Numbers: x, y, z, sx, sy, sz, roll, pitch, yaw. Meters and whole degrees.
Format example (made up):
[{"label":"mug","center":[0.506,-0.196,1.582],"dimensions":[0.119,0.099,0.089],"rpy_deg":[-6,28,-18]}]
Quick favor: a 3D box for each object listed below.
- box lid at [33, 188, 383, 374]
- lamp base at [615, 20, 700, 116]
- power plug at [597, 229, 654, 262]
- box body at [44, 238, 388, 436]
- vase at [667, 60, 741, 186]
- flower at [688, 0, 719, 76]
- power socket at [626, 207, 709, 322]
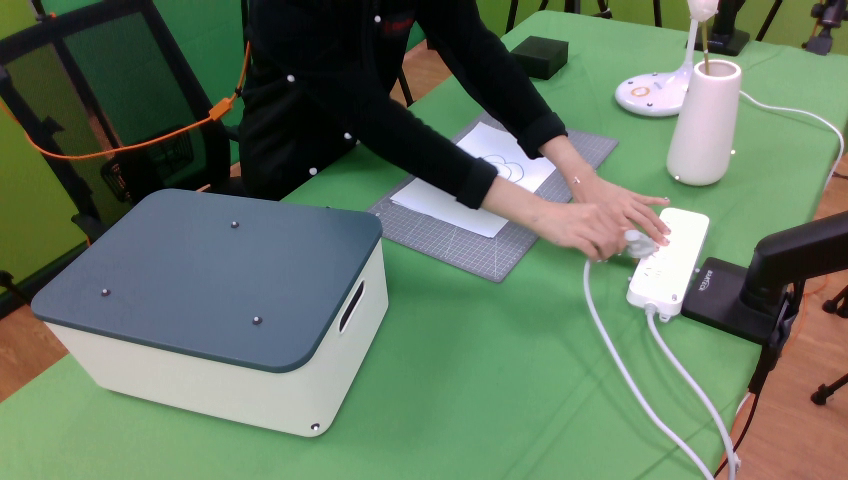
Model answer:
[{"label":"box lid","center":[-0.257,0.032,0.751],"dimensions":[0.370,0.015,0.263],"rpy_deg":[8,42,16]},{"label":"lamp base","center":[0.484,-0.364,1.211],"dimensions":[0.180,0.181,0.159],"rpy_deg":[-15,41,-14]},{"label":"power plug","center":[0.280,0.007,0.834],"dimensions":[0.072,0.053,0.035],"rpy_deg":[6,46,24]},{"label":"box body","center":[-0.251,0.088,0.799],"dimensions":[0.362,0.161,0.254],"rpy_deg":[7,42,16]},{"label":"vase","center":[0.463,-0.189,0.994],"dimensions":[0.098,0.201,0.097],"rpy_deg":[-4,40,4]},{"label":"flower","center":[0.436,-0.242,0.934],"dimensions":[0.038,0.364,0.043],"rpy_deg":[-24,49,8]},{"label":"power socket","center":[0.360,0.026,0.886],"dimensions":[0.072,0.033,0.227],"rpy_deg":[17,46,26]}]
